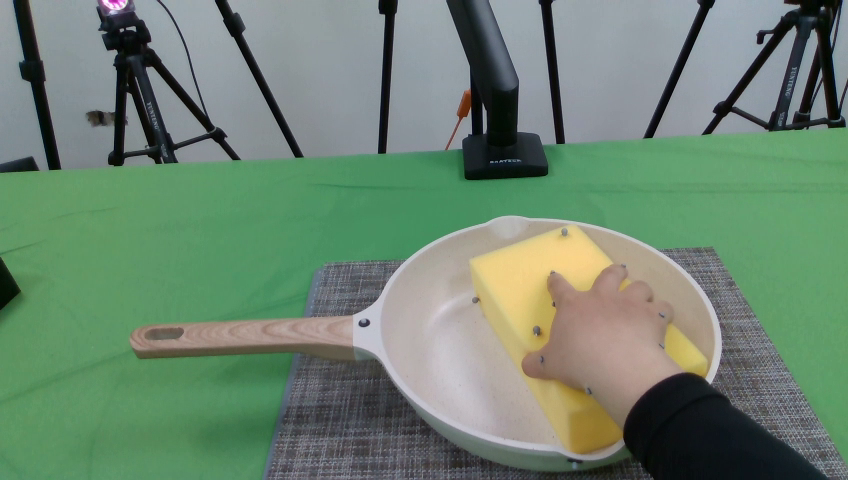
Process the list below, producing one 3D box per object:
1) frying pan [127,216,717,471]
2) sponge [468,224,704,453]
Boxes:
[{"bbox_3d":[-0.002,0.083,0.535,0.489,0.103,0.303,1,34,-6],"label":"frying pan"},{"bbox_3d":[0.133,0.077,0.546,0.118,0.061,0.204,-20,36,-8],"label":"sponge"}]
